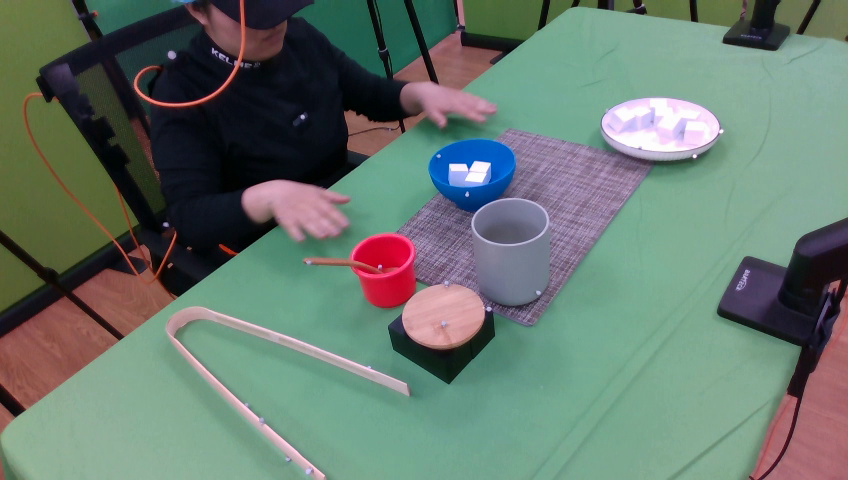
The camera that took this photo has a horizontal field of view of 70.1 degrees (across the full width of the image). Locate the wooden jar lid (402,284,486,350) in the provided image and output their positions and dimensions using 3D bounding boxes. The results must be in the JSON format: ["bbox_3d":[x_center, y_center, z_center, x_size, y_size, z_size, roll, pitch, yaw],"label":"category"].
[{"bbox_3d":[0.026,0.101,0.786,0.108,0.021,0.108,-5,39,4],"label":"wooden jar lid"}]

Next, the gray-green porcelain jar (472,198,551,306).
[{"bbox_3d":[0.125,0.021,0.850,0.106,0.127,0.105,-6,40,5],"label":"gray-green porcelain jar"}]

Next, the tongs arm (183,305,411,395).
[{"bbox_3d":[-0.187,0.149,0.842,0.385,0.028,0.028,14,48,26],"label":"tongs arm"}]

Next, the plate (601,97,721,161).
[{"bbox_3d":[0.436,-0.203,1.126,0.209,0.038,0.208,-5,39,5],"label":"plate"}]

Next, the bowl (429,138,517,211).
[{"bbox_3d":[0.087,-0.104,1.043,0.151,0.077,0.150,-5,40,5],"label":"bowl"}]

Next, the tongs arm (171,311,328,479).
[{"bbox_3d":[-0.236,0.192,0.794,0.381,0.026,0.051,24,50,35],"label":"tongs arm"}]

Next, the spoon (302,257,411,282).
[{"bbox_3d":[-0.092,0.038,0.865,0.195,0.021,0.041,16,15,-46],"label":"spoon"}]
